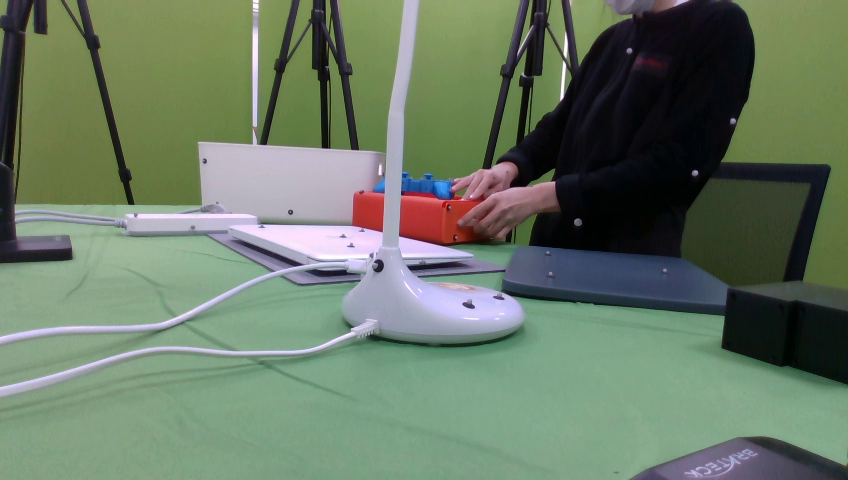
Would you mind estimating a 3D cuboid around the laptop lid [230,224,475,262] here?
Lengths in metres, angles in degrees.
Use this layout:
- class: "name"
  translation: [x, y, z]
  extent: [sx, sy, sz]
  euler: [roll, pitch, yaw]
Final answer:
- class: "laptop lid"
  translation: [-0.119, 0.000, 0.889]
  extent: [0.243, 0.013, 0.355]
  euler: [1, 7, -33]

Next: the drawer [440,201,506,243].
- class: "drawer"
  translation: [0.016, -0.047, 1.142]
  extent: [0.210, 0.073, 0.195]
  euler: [9, 10, 37]

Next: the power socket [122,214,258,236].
- class: "power socket"
  translation: [-0.398, -0.028, 1.049]
  extent: [0.228, 0.032, 0.072]
  euler: [-3, 8, -34]

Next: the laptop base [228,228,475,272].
- class: "laptop base"
  translation: [-0.122, 0.011, 0.889]
  extent: [0.237, 0.023, 0.352]
  euler: [2, 6, -35]

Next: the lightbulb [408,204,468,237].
- class: "lightbulb"
  translation: [0.025, -0.032, 1.086]
  extent: [0.107, 0.059, 0.059]
  euler: [-8, 7, 5]

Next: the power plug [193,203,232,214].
- class: "power plug"
  translation: [-0.393, -0.042, 1.139]
  extent: [0.072, 0.052, 0.035]
  euler: [-14, 2, 31]

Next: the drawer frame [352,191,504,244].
- class: "drawer frame"
  translation: [0.009, -0.048, 1.147]
  extent: [0.212, 0.082, 0.203]
  euler: [8, 9, 36]

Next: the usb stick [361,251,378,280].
- class: "usb stick"
  translation: [-0.051, 0.033, 0.656]
  extent: [0.027, 0.021, 0.059]
  euler: [4, -27, -20]

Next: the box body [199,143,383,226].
- class: "box body"
  translation: [-0.276, -0.124, 1.334]
  extent: [0.364, 0.160, 0.254]
  euler: [3, 7, 1]

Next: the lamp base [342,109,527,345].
- class: "lamp base"
  translation: [0.006, -0.015, 0.505]
  extent: [0.160, 0.180, 0.180]
  euler: [6, 11, 29]

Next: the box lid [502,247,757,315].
- class: "box lid"
  translation: [0.244, 0.044, 0.793]
  extent: [0.263, 0.015, 0.372]
  euler: [4, 6, 10]

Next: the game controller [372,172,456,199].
- class: "game controller"
  translation: [-0.013, -0.101, 1.155]
  extent: [0.155, 0.051, 0.097]
  euler: [6, 3, 14]
